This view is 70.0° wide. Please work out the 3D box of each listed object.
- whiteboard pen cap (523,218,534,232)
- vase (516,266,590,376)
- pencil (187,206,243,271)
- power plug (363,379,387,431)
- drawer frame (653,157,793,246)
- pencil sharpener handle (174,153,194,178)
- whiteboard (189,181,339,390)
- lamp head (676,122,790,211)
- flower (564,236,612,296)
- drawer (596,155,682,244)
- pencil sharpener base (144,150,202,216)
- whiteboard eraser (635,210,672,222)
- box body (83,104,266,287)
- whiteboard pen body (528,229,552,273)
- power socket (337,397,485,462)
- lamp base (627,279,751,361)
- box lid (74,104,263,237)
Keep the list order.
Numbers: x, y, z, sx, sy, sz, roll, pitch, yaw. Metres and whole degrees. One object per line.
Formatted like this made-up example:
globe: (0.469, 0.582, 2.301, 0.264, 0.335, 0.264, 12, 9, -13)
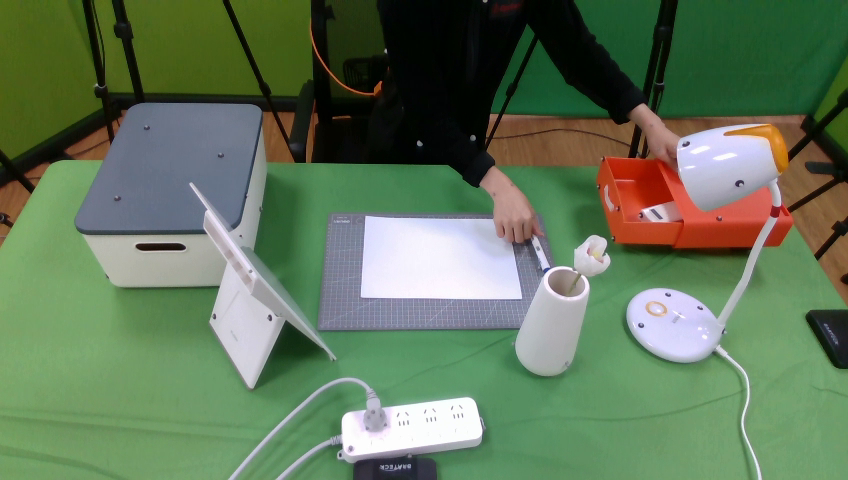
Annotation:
whiteboard pen cap: (0.214, -0.027, 1.238, 0.018, 0.018, 0.033, -4, 44, -8)
vase: (0.208, 0.132, 0.964, 0.098, 0.201, 0.097, 3, 46, -3)
pencil: (-0.401, -0.008, 1.176, 0.012, 0.012, 0.193, 15, 44, 10)
power plug: (-0.072, 0.252, 0.910, 0.035, 0.053, 0.072, 3, 44, -1)
drawer frame: (0.578, -0.080, 1.215, 0.214, 0.083, 0.200, -1, 45, -1)
pencil sharpener handle: (-0.479, -0.156, 1.225, 0.036, 0.068, 0.030, 24, 47, 2)
whiteboard: (-0.292, 0.096, 0.929, 0.144, 0.307, 0.216, -37, 57, -10)
lamp head: (0.423, -0.104, 0.819, 0.122, 0.113, 0.112, -13, 33, 40)
flower: (0.206, 0.088, 0.892, 0.038, 0.363, 0.044, -17, 67, -10)
drawer: (0.468, -0.081, 1.211, 0.212, 0.073, 0.193, 2, 46, -2)
pencil sharpener base: (-0.493, -0.113, 1.199, 0.061, 0.107, 0.076, 15, 46, 12)
whiteboard eraser: (0.473, -0.023, 1.205, 0.113, 0.042, 0.055, 13, 29, -33)
box body: (-0.446, -0.088, 1.150, 0.254, 0.161, 0.361, -1, 46, -5)
whiteboard pen body: (0.224, 0.013, 1.197, 0.017, 0.017, 0.140, -5, 45, -9)
power socket: (-0.018, 0.285, 0.915, 0.227, 0.033, 0.071, -5, 46, -8)
lamp base: (0.460, 0.100, 1.027, 0.178, 0.181, 0.160, 27, 51, 17)
box lid: (-0.443, -0.139, 1.095, 0.263, 0.015, 0.369, -1, 45, -5)
